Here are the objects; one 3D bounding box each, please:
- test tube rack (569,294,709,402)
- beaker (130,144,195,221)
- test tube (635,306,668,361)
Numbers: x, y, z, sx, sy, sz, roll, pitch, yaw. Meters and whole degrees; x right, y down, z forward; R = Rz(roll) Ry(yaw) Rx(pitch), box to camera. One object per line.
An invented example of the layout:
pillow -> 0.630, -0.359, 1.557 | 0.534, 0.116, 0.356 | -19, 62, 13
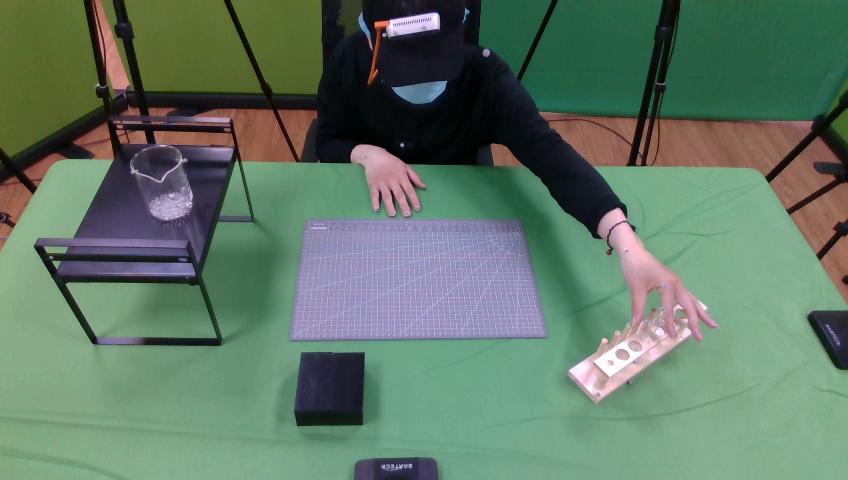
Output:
test tube rack -> 0.360, 0.167, 1.014 | 0.242, 0.085, 0.066 | -25, 53, -25
beaker -> -0.402, -0.085, 0.944 | 0.074, 0.101, 0.083 | -15, 50, -17
test tube -> 0.356, 0.151, 0.961 | 0.017, 0.151, 0.017 | 0, 51, 0
